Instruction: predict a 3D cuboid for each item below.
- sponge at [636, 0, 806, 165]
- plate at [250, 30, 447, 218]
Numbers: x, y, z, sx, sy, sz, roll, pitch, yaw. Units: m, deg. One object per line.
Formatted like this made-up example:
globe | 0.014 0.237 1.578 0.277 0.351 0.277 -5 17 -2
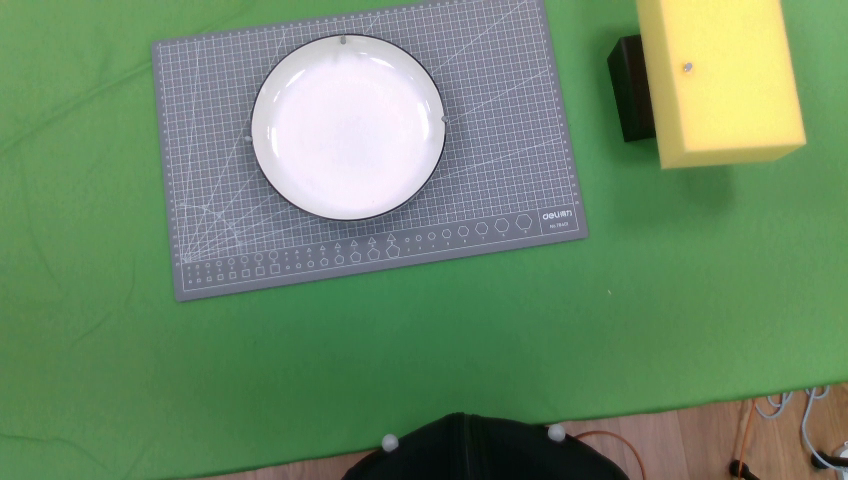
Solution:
sponge | 0.292 -0.185 0.609 0.118 0.061 0.206 -6 82 -1
plate | -0.079 -0.123 0.658 0.209 0.038 0.208 0 82 0
